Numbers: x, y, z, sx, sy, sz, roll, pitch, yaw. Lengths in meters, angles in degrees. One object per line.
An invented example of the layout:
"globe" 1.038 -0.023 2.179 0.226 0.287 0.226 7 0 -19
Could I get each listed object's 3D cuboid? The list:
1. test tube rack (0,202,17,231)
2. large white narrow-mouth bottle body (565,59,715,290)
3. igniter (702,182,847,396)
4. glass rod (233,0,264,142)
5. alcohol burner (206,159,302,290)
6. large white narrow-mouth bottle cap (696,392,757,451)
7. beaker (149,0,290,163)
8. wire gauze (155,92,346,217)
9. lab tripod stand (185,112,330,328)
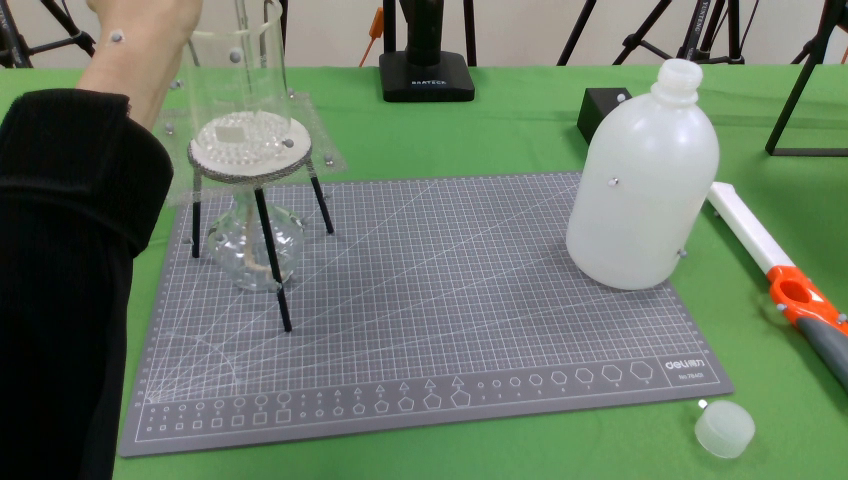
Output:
"test tube rack" -0.482 -0.005 0.483 0.066 0.086 0.242 32 49 27
"large white narrow-mouth bottle body" 0.185 -0.055 0.510 0.102 0.196 0.101 2 42 -1
"igniter" 0.326 0.036 0.550 0.057 0.025 0.273 6 41 -14
"glass rod" -0.123 -0.160 0.396 0.008 0.201 0.008 -1 29 1
"alcohol burner" -0.141 -0.017 0.500 0.078 0.120 0.077 4 40 -3
"large white narrow-mouth bottle cap" 0.219 0.132 0.439 0.038 0.024 0.037 2 42 -1
"beaker" -0.134 -0.111 0.419 0.084 0.101 0.073 -8 45 -13
"wire gauze" -0.132 -0.073 0.450 0.122 0.011 0.123 -14 49 -17
"lab tripod stand" -0.131 -0.023 0.493 0.148 0.132 0.147 4 42 -3
